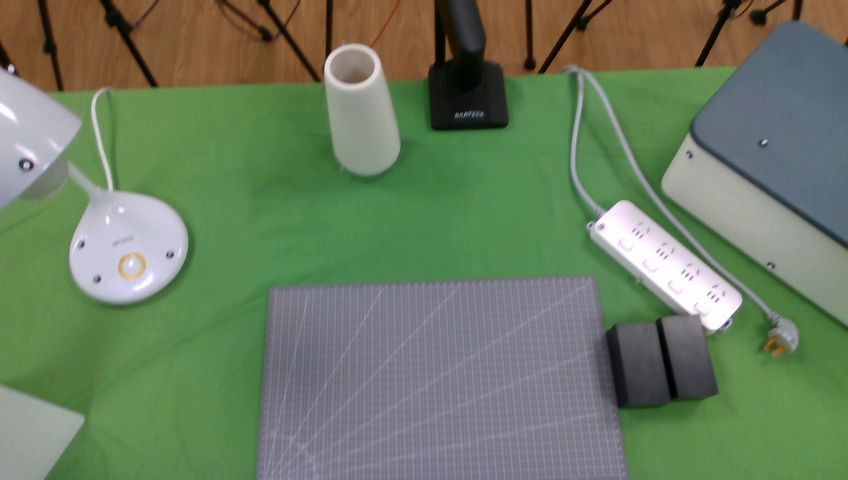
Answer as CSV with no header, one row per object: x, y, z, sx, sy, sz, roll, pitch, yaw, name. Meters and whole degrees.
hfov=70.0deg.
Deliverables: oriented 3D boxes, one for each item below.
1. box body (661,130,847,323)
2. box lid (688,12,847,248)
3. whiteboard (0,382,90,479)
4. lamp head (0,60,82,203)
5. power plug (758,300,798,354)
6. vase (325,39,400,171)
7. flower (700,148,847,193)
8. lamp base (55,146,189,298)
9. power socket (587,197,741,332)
0.538,-0.081,0.802,0.362,0.161,0.254,40,73,15,box body
0.538,-0.110,0.733,0.369,0.015,0.263,40,74,15,box lid
-0.571,0.212,0.634,0.143,0.309,0.216,19,67,29,whiteboard
-0.374,-0.107,0.504,0.112,0.124,0.111,-29,34,23,lamp head
0.457,0.119,0.799,0.052,0.035,0.072,-31,31,-8,power plug
-0.083,-0.178,0.823,0.098,0.201,0.097,0,66,-1,vase
0.583,-0.081,0.877,0.358,0.038,0.044,25,59,30,flower
-0.415,-0.035,0.772,0.160,0.181,0.178,-31,68,-12,lamp base
0.326,0.030,0.826,0.072,0.033,0.225,-40,72,-16,power socket
